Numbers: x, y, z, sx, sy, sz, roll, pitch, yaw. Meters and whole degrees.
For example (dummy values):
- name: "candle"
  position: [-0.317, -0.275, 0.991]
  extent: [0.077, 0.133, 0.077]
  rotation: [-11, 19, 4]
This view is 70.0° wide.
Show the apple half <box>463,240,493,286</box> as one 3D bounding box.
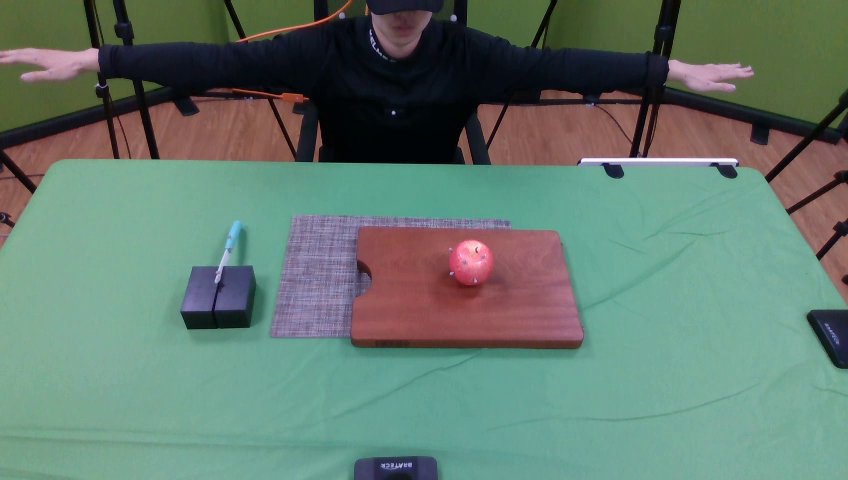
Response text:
- name: "apple half"
  position: [0.097, 0.042, 1.093]
  extent: [0.053, 0.075, 0.080]
  rotation: [-3, 42, -13]

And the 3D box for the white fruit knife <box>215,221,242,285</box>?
- name: "white fruit knife"
  position: [-0.360, 0.019, 1.114]
  extent: [0.016, 0.027, 0.206]
  rotation: [-1, 32, -5]

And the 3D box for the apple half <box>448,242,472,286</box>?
- name: "apple half"
  position: [0.059, 0.046, 1.085]
  extent: [0.033, 0.081, 0.080]
  rotation: [-4, 46, -13]
